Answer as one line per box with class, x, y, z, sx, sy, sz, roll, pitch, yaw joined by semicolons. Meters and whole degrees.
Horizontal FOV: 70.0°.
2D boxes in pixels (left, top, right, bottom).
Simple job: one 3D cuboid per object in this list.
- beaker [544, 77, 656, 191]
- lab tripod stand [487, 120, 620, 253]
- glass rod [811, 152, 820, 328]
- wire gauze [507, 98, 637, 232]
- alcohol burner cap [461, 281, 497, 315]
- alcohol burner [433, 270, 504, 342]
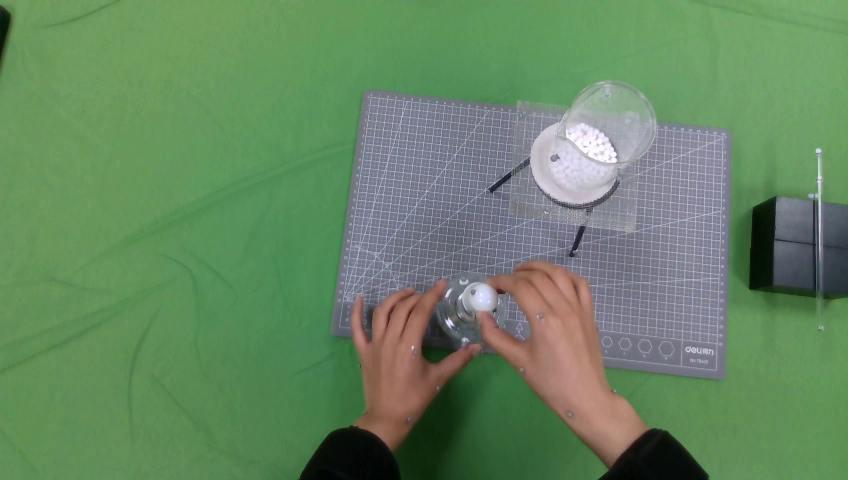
beaker;0.149;-0.088;0.543;0.084;0.100;0.073;-10;80;-3
lab tripod stand;0.148;-0.067;0.655;0.148;0.132;0.147;0;78;0
glass rod;0.431;-0.002;0.667;0.008;0.008;0.199;7;80;0
wire gauze;0.145;-0.075;0.590;0.125;0.011;0.121;8;81;-2
alcohol burner cap;0.052;0.054;0.566;0.034;0.048;0.034;0;84;0
alcohol burner;0.049;0.068;0.639;0.078;0.119;0.077;0;82;-2
